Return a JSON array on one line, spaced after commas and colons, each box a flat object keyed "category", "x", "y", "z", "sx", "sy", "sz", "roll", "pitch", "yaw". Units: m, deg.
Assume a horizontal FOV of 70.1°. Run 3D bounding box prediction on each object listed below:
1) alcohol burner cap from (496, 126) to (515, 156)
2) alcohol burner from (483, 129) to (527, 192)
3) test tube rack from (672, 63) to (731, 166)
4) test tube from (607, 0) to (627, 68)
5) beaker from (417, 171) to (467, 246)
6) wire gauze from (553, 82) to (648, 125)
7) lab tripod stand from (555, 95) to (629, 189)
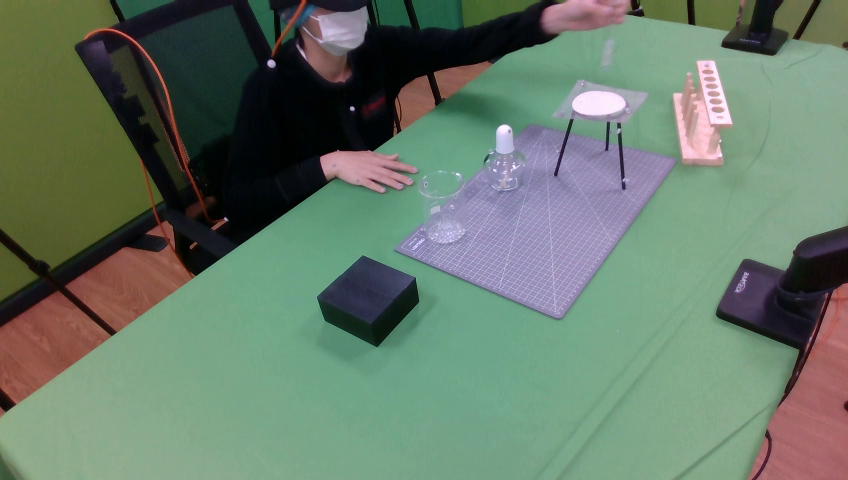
[{"category": "alcohol burner cap", "x": 0.138, "y": -0.172, "z": 1.028, "sx": 0.034, "sy": 0.048, "sz": 0.033, "roll": -5, "pitch": 38, "yaw": 4}, {"category": "alcohol burner", "x": 0.141, "y": -0.144, "z": 1.050, "sx": 0.078, "sy": 0.119, "sz": 0.077, "roll": -4, "pitch": 42, "yaw": 4}, {"category": "test tube rack", "x": 0.513, "y": -0.241, "z": 1.132, "sx": 0.066, "sy": 0.085, "sz": 0.242, "roll": 4, "pitch": 41, "yaw": 14}, {"category": "test tube", "x": 0.335, "y": -0.371, "z": 1.044, "sx": 0.017, "sy": 0.151, "sz": 0.017, "roll": 0, "pitch": 37, "yaw": 1}, {"category": "beaker", "x": 0.034, "y": -0.049, "z": 0.965, "sx": 0.084, "sy": 0.101, "sz": 0.073, "roll": -32, "pitch": 46, "yaw": -27}, {"category": "wire gauze", "x": 0.293, "y": -0.225, "z": 1.002, "sx": 0.120, "sy": 0.011, "sz": 0.125, "roll": 17, "pitch": 45, "yaw": 27}, {"category": "lab tripod stand", "x": 0.300, "y": -0.174, "z": 1.045, "sx": 0.148, "sy": 0.132, "sz": 0.147, "roll": -5, "pitch": 38, "yaw": 5}]
